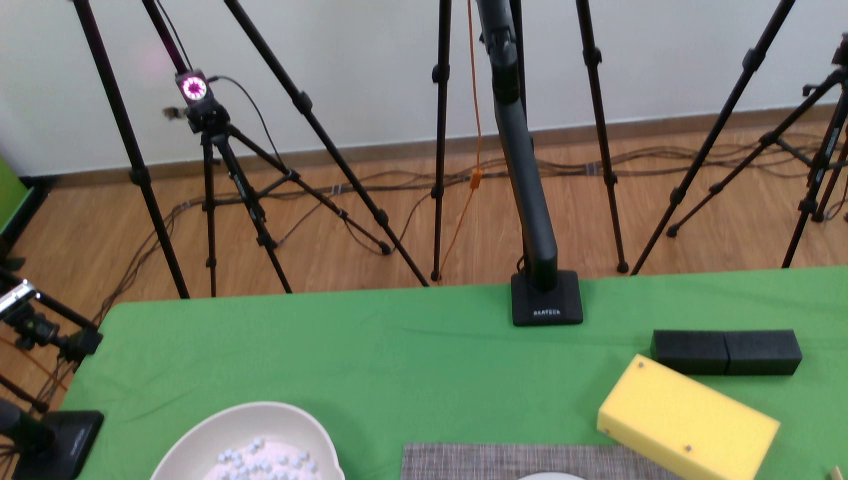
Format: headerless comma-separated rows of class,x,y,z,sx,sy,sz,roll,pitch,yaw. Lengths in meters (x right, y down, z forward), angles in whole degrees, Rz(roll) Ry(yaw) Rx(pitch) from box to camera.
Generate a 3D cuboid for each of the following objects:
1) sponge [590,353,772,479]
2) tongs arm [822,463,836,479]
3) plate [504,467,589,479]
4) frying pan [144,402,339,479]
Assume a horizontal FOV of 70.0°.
sponge,0.358,0.261,0.858,0.205,0.061,0.118,25,55,31
tongs arm,0.544,0.442,0.680,0.028,0.028,0.383,-6,47,4
plate,0.164,0.402,0.782,0.207,0.039,0.205,-6,47,7
frying pan,-0.261,0.443,0.790,0.307,0.104,0.483,-9,38,5
